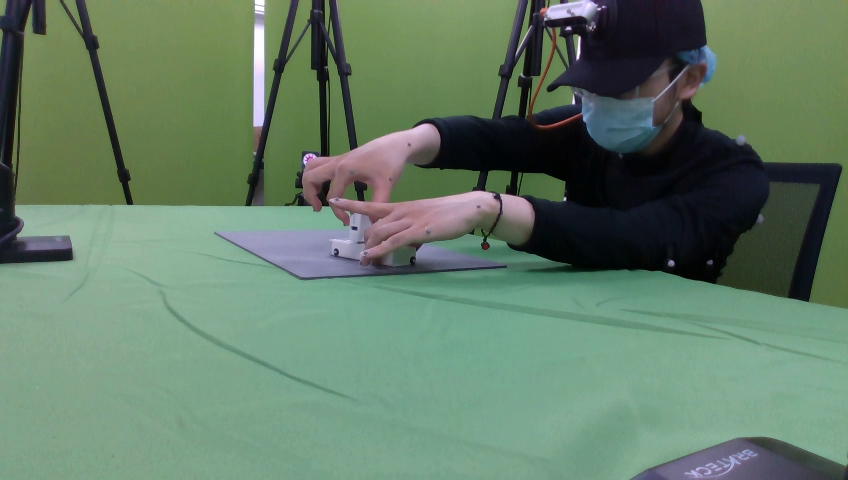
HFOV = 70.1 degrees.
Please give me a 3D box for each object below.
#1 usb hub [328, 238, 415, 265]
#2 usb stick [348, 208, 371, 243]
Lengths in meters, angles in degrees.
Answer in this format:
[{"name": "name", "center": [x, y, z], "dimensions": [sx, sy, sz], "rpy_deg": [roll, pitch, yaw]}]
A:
[{"name": "usb hub", "center": [-0.075, 0.014, 0.837], "dimensions": [0.124, 0.025, 0.050], "rpy_deg": [7, 8, 39]}, {"name": "usb stick", "center": [-0.088, -0.014, 0.825], "dimensions": [0.021, 0.059, 0.027], "rpy_deg": [8, 10, 38]}]
